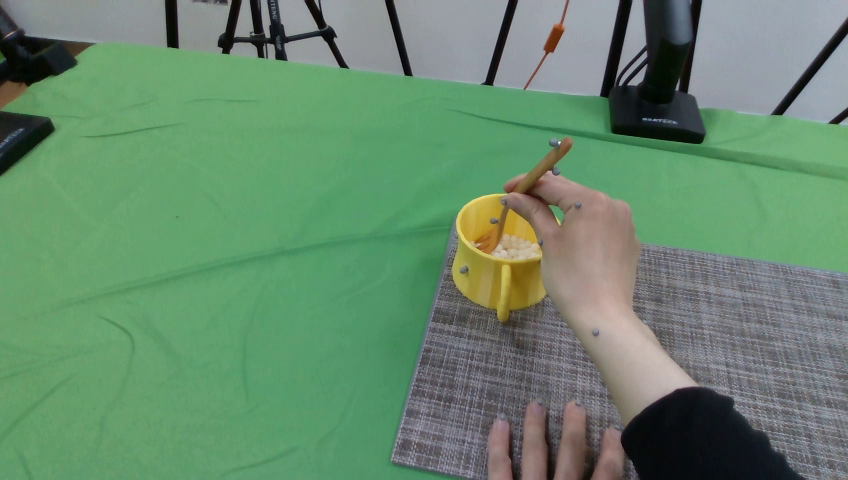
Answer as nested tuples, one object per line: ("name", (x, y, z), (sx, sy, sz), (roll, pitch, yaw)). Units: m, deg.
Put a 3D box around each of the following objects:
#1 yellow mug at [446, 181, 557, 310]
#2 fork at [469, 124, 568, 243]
("yellow mug", (0.071, 0.009, 0.573), (0.100, 0.064, 0.129), (5, 44, 2))
("fork", (0.072, -0.040, 0.513), (0.019, 0.208, 0.028), (15, 66, -6))
